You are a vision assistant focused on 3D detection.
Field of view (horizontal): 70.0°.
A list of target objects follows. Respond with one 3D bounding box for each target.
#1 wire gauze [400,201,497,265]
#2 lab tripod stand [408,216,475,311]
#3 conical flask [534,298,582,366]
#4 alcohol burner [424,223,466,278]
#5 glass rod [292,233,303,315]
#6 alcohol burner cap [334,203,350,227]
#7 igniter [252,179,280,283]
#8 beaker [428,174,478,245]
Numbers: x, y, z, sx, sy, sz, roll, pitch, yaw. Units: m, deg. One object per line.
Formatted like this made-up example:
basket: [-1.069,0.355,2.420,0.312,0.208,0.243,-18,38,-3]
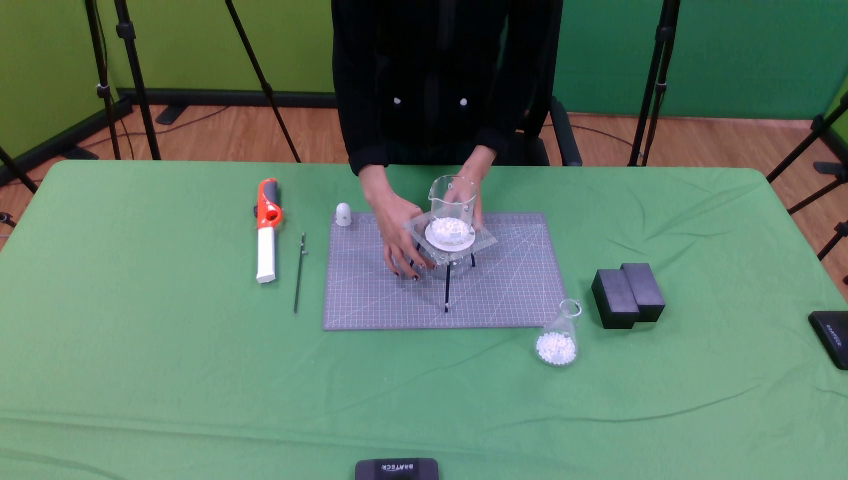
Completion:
wire gauze: [0.042,-0.013,1.043,0.125,0.011,0.120,-24,49,-24]
lab tripod stand: [0.040,0.030,1.093,0.148,0.132,0.147,2,44,-2]
conical flask: [0.229,0.149,1.005,0.075,0.122,0.075,2,46,-2]
alcohol burner: [0.040,0.015,1.121,0.078,0.120,0.077,1,46,-1]
glass rod: [-0.236,0.059,1.134,0.008,0.008,0.198,-1,46,-4]
alcohol burner cap: [-0.166,-0.053,1.220,0.034,0.048,0.033,2,46,-2]
igniter: [-0.312,-0.027,1.197,0.057,0.025,0.274,-12,47,-1]
beaker: [0.043,-0.047,1.009,0.084,0.101,0.073,-16,48,-19]
